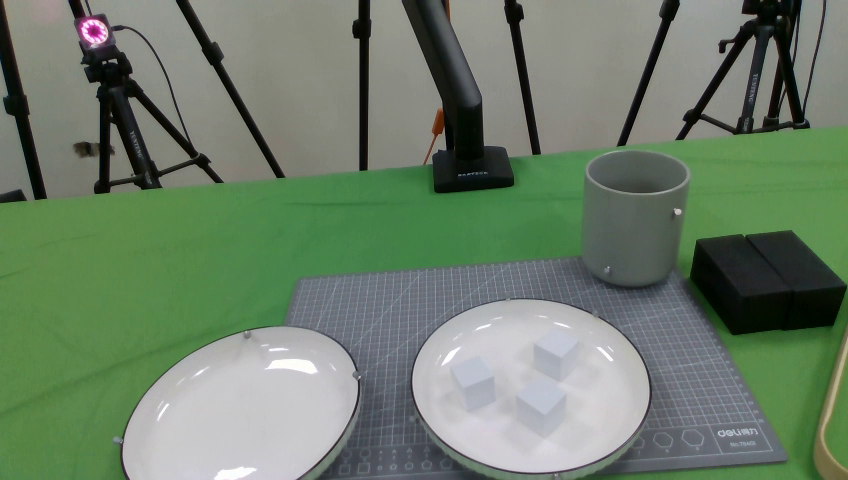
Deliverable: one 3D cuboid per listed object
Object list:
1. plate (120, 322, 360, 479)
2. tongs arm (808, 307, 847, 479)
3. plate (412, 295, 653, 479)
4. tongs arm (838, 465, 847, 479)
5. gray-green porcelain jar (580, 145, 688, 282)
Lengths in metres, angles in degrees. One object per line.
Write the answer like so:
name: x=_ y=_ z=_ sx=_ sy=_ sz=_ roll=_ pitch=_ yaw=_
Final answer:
plate: x=-0.158 y=0.156 z=0.544 sx=0.209 sy=0.038 sz=0.207 roll=-6 pitch=34 yaw=4
tongs arm: x=0.417 y=0.077 z=0.577 sx=0.028 sy=0.028 sz=0.387 roll=22 pitch=44 yaw=32
plate: x=0.094 y=0.128 z=0.543 sx=0.207 sy=0.039 sz=0.205 roll=-4 pitch=33 yaw=3
tongs arm: x=0.473 y=0.103 z=0.524 sx=0.385 sy=0.027 sz=0.050 roll=-29 pitch=40 yaw=-28
gray-green porcelain jar: x=0.227 y=-0.025 z=0.668 sx=0.106 sy=0.127 sz=0.105 roll=-5 pitch=34 yaw=3
